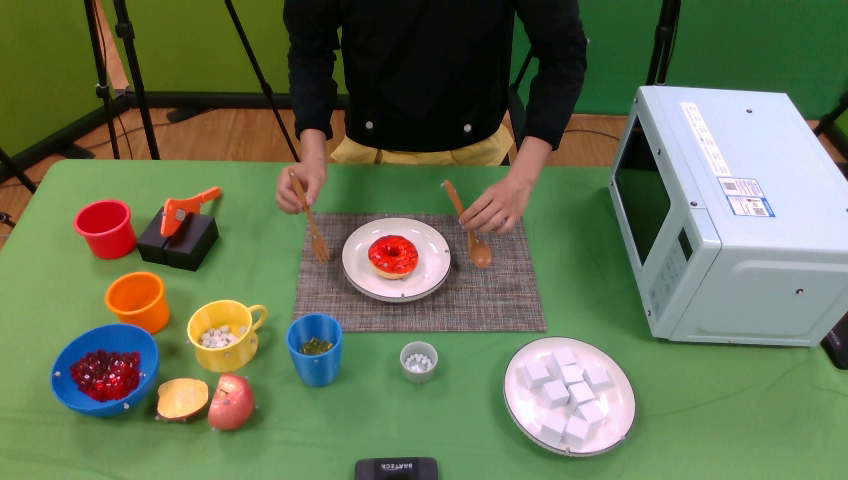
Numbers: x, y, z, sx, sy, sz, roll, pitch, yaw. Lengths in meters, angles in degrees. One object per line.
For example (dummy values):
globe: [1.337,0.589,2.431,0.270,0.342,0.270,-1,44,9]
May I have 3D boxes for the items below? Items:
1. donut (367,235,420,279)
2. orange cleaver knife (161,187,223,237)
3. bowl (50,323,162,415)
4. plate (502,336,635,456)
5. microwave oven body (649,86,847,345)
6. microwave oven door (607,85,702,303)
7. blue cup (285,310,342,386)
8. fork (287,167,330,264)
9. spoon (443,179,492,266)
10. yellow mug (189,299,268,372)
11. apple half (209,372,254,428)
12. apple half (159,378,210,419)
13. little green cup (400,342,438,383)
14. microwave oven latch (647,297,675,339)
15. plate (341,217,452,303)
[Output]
donut: [-0.056,0.032,1.131,0.099,0.048,0.098,3,45,-3]
orange cleaver knife: [-0.448,-0.058,1.181,0.012,0.077,0.211,13,17,6]
bowl: [-0.472,0.209,0.924,0.151,0.077,0.150,3,45,-2]
plate: [0.225,0.248,0.963,0.208,0.039,0.206,2,46,-2]
microwave oven body: [0.568,-0.053,1.118,0.326,0.261,0.439,2,45,-1]
microwave oven door: [0.423,-0.094,1.141,0.039,0.245,0.353,2,46,-1]
blue cup: [-0.170,0.179,0.958,0.093,0.101,0.092,2,44,-2]
fork: [-0.206,-0.040,1.080,0.028,0.208,0.018,-33,43,-24]
spoon: [0.077,-0.029,1.083,0.041,0.195,0.021,-32,34,-7]
yellow mug: [-0.316,0.148,1.002,0.131,0.064,0.099,-32,56,-31]
apple half: [-0.282,0.243,0.908,0.053,0.075,0.080,8,42,-2]
apple half: [-0.366,0.247,0.926,0.081,0.033,0.081,8,31,-5]
little green cup: [-0.010,0.202,0.991,0.061,0.039,0.061,2,47,-2]
microwave oven latch: [0.413,0.134,1.061,0.030,0.029,0.078,5,45,2]
plate: [-0.052,0.039,1.140,0.209,0.038,0.208,2,46,-2]
